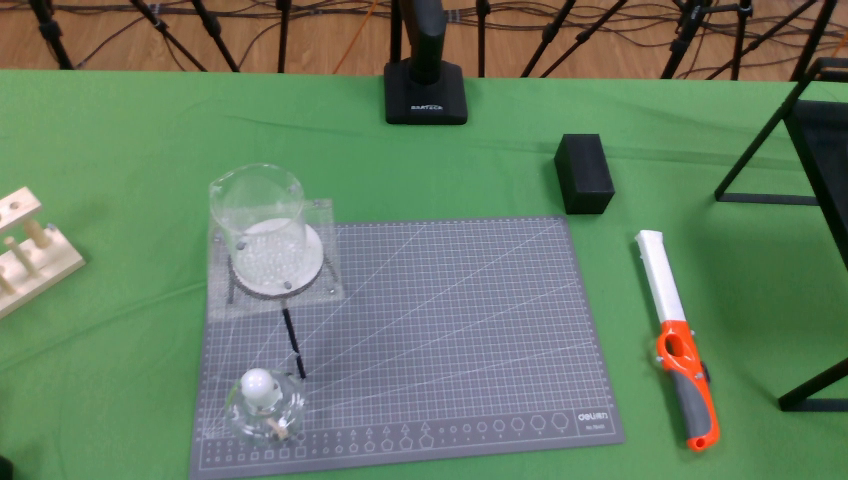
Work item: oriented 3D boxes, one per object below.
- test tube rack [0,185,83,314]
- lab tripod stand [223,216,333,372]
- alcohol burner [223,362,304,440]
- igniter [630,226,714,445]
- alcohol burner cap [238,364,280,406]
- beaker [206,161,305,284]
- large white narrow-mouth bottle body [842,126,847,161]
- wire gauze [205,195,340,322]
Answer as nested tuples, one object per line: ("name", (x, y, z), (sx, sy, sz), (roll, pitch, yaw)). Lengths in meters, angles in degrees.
("test tube rack", (-0.501, 0.052, 0.630), (0.066, 0.086, 0.242), (40, 62, 18))
("lab tripod stand", (-0.150, 0.050, 0.637), (0.148, 0.132, 0.147), (4, 58, -6))
("alcohol burner", (-0.156, 0.150, 0.586), (0.078, 0.120, 0.077), (4, 56, -5))
("igniter", (0.291, 0.102, 0.718), (0.057, 0.025, 0.274), (6, 57, -14))
("alcohol burner cap", (-0.153, 0.131, 0.555), (0.034, 0.048, 0.033), (1, 63, -1))
("beaker", (-0.147, -0.012, 0.541), (0.084, 0.101, 0.073), (20, 58, 6))
("large white narrow-mouth bottle body", (0.508, -0.140, 0.580), (0.102, 0.196, 0.101), (3, 57, -4))
("wire gauze", (-0.148, 0.012, 0.584), (0.122, 0.011, 0.124), (-8, 63, -9))
